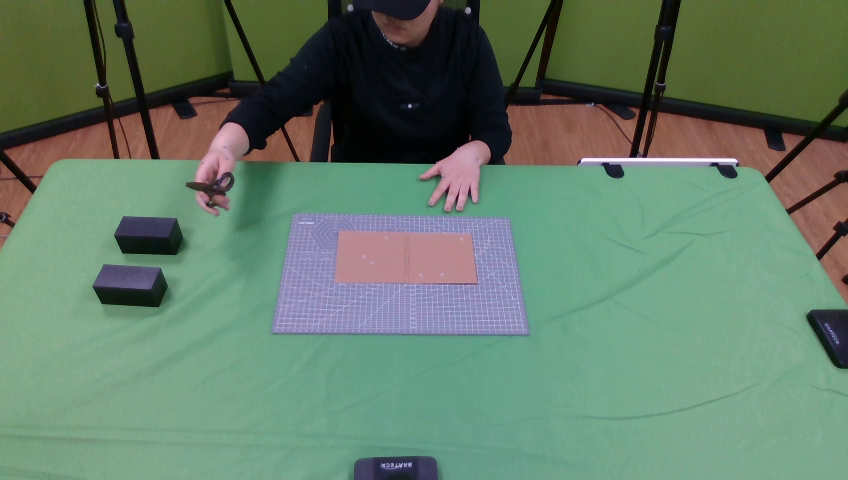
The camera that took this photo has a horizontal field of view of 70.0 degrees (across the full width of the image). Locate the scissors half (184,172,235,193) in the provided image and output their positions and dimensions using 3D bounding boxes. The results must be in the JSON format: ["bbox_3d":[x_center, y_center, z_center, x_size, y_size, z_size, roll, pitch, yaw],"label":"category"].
[{"bbox_3d":[-0.370,-0.099,1.051,0.013,0.040,0.175,30,10,4],"label":"scissors half"}]

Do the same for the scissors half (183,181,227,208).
[{"bbox_3d":[-0.381,-0.082,1.051,0.013,0.175,0.040,35,84,4],"label":"scissors half"}]

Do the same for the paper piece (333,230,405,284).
[{"bbox_3d":[-0.104,0.031,1.165,0.135,0.004,0.135,2,47,-4],"label":"paper piece"}]

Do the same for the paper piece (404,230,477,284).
[{"bbox_3d":[0.030,0.033,1.174,0.138,0.009,0.135,2,49,-3],"label":"paper piece"}]
